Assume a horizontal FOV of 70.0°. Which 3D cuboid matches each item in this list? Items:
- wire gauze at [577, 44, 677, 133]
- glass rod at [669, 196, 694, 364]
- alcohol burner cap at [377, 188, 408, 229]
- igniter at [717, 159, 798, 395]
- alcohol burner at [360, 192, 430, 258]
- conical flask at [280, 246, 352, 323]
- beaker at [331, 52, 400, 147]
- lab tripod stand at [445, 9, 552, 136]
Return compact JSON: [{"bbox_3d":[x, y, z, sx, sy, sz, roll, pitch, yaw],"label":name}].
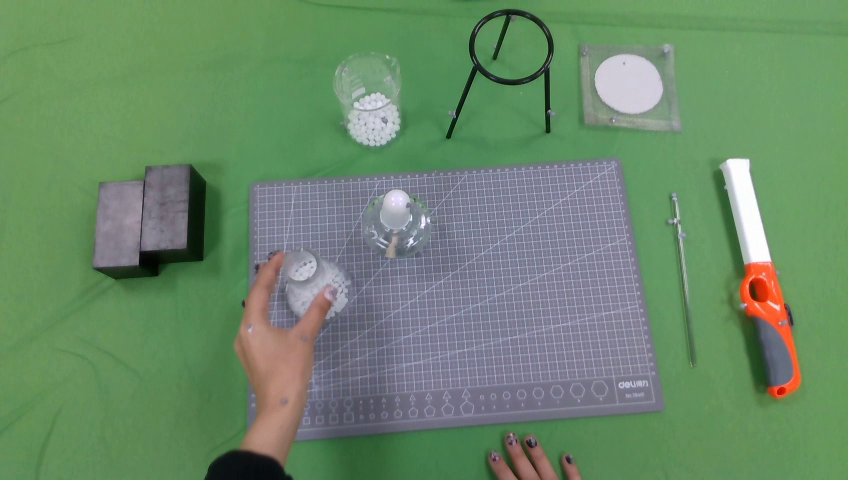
[{"bbox_3d":[0.258,-0.196,0.770,0.125,0.011,0.121,3,75,-2],"label":"wire gauze"},{"bbox_3d":[0.297,0.043,0.701,0.008,0.008,0.198,1,73,-1],"label":"glass rod"},{"bbox_3d":[-0.031,-0.035,0.624,0.034,0.048,0.033,3,66,-7],"label":"alcohol burner cap"},{"bbox_3d":[0.381,0.036,0.694,0.057,0.025,0.275,-1,74,-12],"label":"igniter"},{"bbox_3d":[-0.032,-0.023,0.658,0.078,0.119,0.077,1,73,-2],"label":"alcohol burner"},{"bbox_3d":[-0.119,0.041,0.634,0.075,0.122,0.075,0,73,0],"label":"conical flask"},{"bbox_3d":[-0.063,-0.161,0.708,0.073,0.101,0.084,44,77,11],"label":"beaker"},{"bbox_3d":[0.088,-0.184,0.699,0.148,0.132,0.147,0,76,0],"label":"lab tripod stand"}]
